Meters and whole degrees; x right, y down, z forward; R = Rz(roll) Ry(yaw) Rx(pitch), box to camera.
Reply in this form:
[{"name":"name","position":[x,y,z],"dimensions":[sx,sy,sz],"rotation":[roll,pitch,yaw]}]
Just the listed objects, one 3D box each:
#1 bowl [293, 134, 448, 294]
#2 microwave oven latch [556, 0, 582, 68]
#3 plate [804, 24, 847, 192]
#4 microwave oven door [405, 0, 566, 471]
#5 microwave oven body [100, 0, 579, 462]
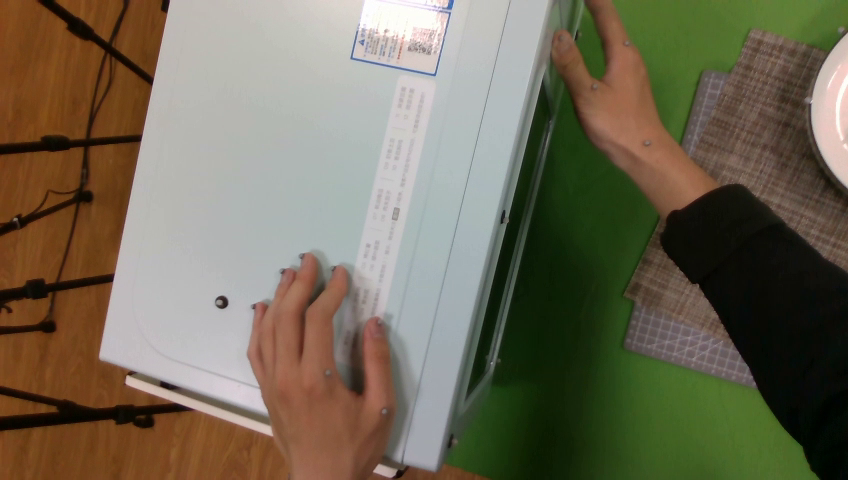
[{"name":"bowl","position":[-0.043,-0.024,0.600],"dimensions":[0.151,0.077,0.151],"rotation":[0,90,13]},{"name":"microwave oven latch","position":[0.141,-0.218,0.618],"dimensions":[0.030,0.029,0.079],"rotation":[14,95,13]},{"name":"plate","position":[0.460,-0.121,0.552],"dimensions":[0.208,0.038,0.209],"rotation":[0,89,14]},{"name":"microwave oven door","position":[0.063,-0.006,0.536],"dimensions":[0.039,0.244,0.356],"rotation":[14,94,15]},{"name":"microwave oven body","position":[-0.064,-0.081,0.572],"dimensions":[0.325,0.261,0.442],"rotation":[14,95,13]}]
